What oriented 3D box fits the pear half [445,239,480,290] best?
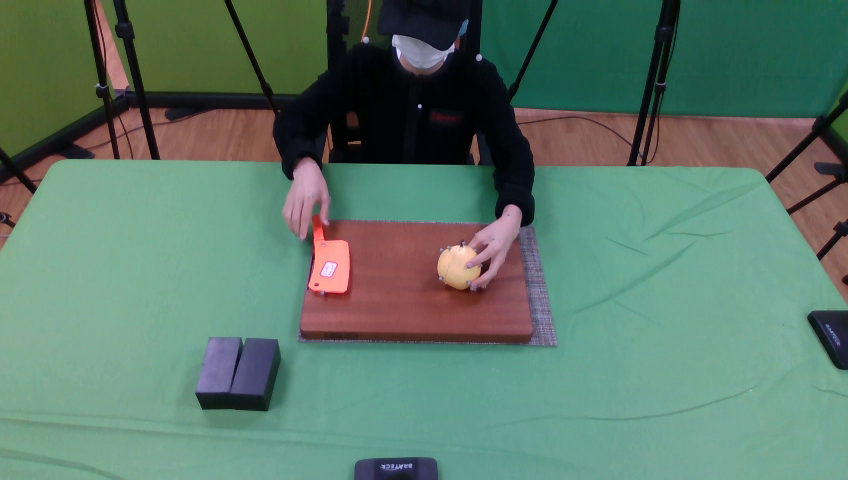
[{"bbox_3d":[0.072,0.041,1.064,0.056,0.110,0.076,14,52,11],"label":"pear half"}]

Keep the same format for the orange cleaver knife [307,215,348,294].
[{"bbox_3d":[-0.180,0.023,1.126,0.077,0.012,0.210,-7,44,-6],"label":"orange cleaver knife"}]

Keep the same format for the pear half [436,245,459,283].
[{"bbox_3d":[0.039,0.037,1.080,0.031,0.088,0.070,15,51,10],"label":"pear half"}]
